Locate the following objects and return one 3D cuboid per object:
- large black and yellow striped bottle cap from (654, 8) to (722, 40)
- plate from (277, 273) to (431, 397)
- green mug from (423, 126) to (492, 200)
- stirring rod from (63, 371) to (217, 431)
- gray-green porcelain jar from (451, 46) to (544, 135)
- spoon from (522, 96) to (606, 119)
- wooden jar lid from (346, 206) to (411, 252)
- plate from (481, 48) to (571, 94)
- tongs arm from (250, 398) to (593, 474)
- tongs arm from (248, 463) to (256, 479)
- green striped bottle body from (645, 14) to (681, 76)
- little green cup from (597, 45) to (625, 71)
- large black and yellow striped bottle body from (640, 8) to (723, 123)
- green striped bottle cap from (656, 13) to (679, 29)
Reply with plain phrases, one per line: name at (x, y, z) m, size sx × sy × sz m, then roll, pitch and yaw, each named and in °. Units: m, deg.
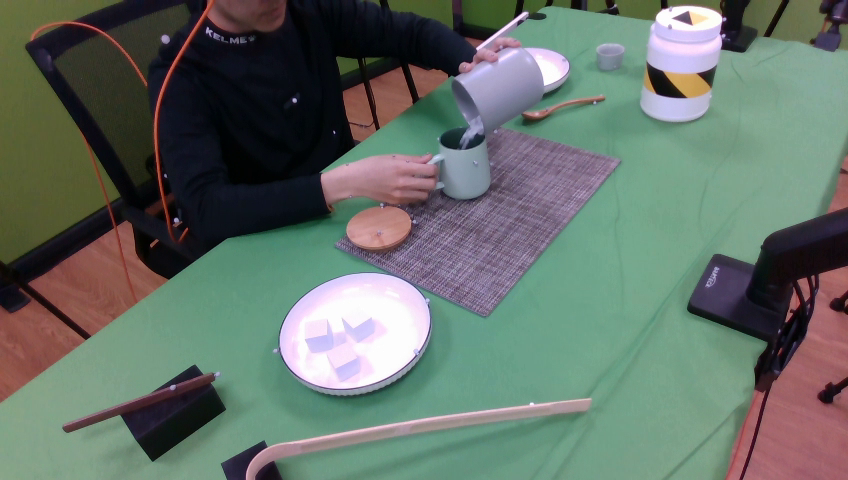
large black and yellow striped bottle cap at (0.483, -0.397, 1.108) m, size 0.115 × 0.019 × 0.114 m, roll -3°, pitch 41°, yaw 3°
plate at (-0.091, 0.129, 0.821) m, size 0.207 × 0.039 × 0.206 m, roll -4°, pitch 40°, yaw 4°
green mug at (0.055, -0.125, 1.039) m, size 0.126 × 0.105 × 0.091 m, roll -25°, pitch 44°, yaw -19°
stirring rod at (-0.337, 0.192, 0.723) m, size 0.177 × 0.014 × 0.005 m, roll -18°, pitch 43°, yaw -12°
gray-green porcelain jar at (0.125, -0.248, 0.993) m, size 0.126 × 0.106 × 0.105 m, roll -31°, pitch 44°, yaw -5°
spoon at (0.291, -0.277, 1.249) m, size 0.194 × 0.022 × 0.041 m, roll -17°, pitch 25°, yaw -11°
wooden jar lid at (-0.074, -0.017, 0.996) m, size 0.108 × 0.021 × 0.108 m, roll -3°, pitch 39°, yaw 3°
plate at (0.223, -0.371, 1.357) m, size 0.209 × 0.038 × 0.208 m, roll -4°, pitch 41°, yaw 4°
tongs arm at (0.008, 0.212, 0.674) m, size 0.389 × 0.028 × 0.028 m, roll -5°, pitch 46°, yaw -11°
tongs arm at (0.012, 0.262, 0.614) m, size 0.385 × 0.026 × 0.050 m, roll 3°, pitch 42°, yaw -2°
green striped bottle body at (0.520, -0.424, 1.312) m, size 0.063 × 0.120 × 0.063 m, roll -4°, pitch 41°, yaw 4°
little green cup at (0.423, -0.413, 1.375) m, size 0.061 × 0.039 × 0.061 m, roll -3°, pitch 41°, yaw 3°
large black and yellow striped bottle body at (0.493, -0.334, 1.161) m, size 0.131 × 0.185 × 0.130 m, roll -4°, pitch 41°, yaw 4°
green striped bottle cap at (0.515, -0.463, 1.278) m, size 0.044 × 0.020 × 0.044 m, roll -6°, pitch 42°, yaw 6°
